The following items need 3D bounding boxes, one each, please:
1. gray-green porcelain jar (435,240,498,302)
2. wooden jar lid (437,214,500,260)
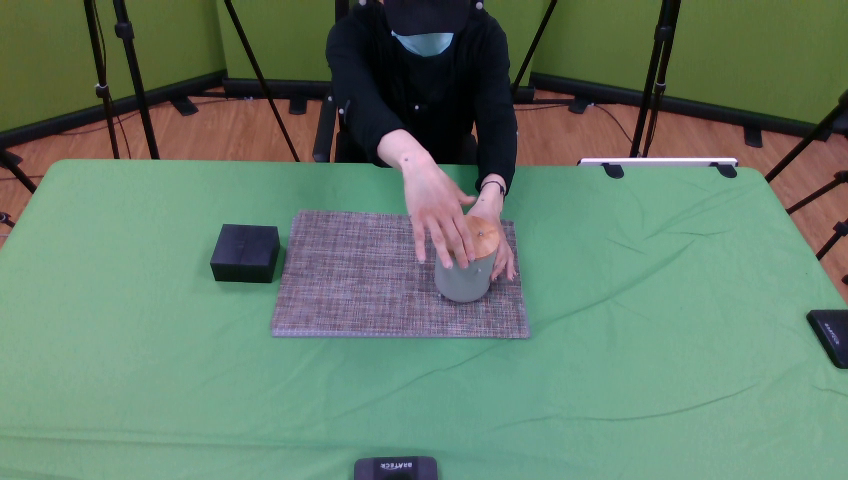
[{"bbox_3d":[0.073,0.041,1.083,0.106,0.127,0.105,2,46,-2],"label":"gray-green porcelain jar"},{"bbox_3d":[0.076,-0.002,1.039,0.108,0.021,0.107,2,43,-1],"label":"wooden jar lid"}]
